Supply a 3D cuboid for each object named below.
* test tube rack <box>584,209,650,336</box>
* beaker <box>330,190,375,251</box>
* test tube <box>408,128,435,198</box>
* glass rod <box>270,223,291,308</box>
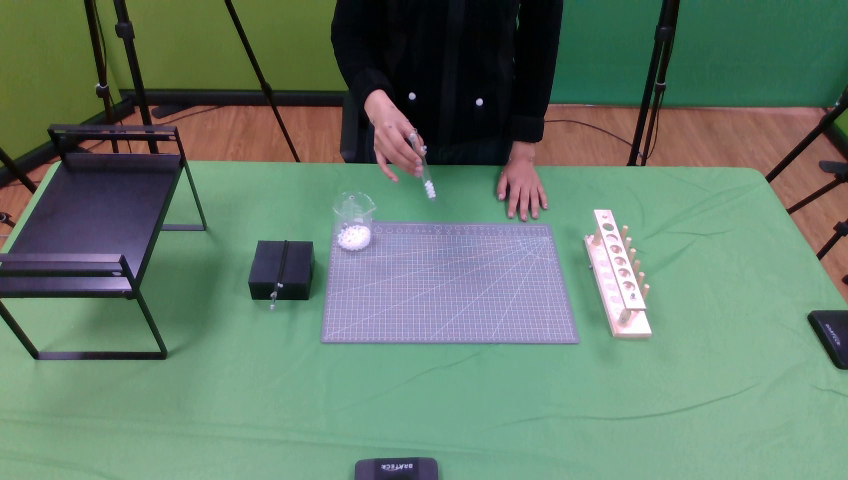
[{"bbox_3d":[0.365,0.056,1.129,0.067,0.085,0.240,1,46,-3],"label":"test tube rack"},{"bbox_3d":[-0.136,-0.034,1.162,0.084,0.101,0.073,3,46,-3],"label":"beaker"},{"bbox_3d":[-0.003,-0.132,1.064,0.017,0.151,0.017,-10,42,9],"label":"test tube"},{"bbox_3d":[-0.255,0.041,1.082,0.008,0.008,0.198,2,46,-2],"label":"glass rod"}]
